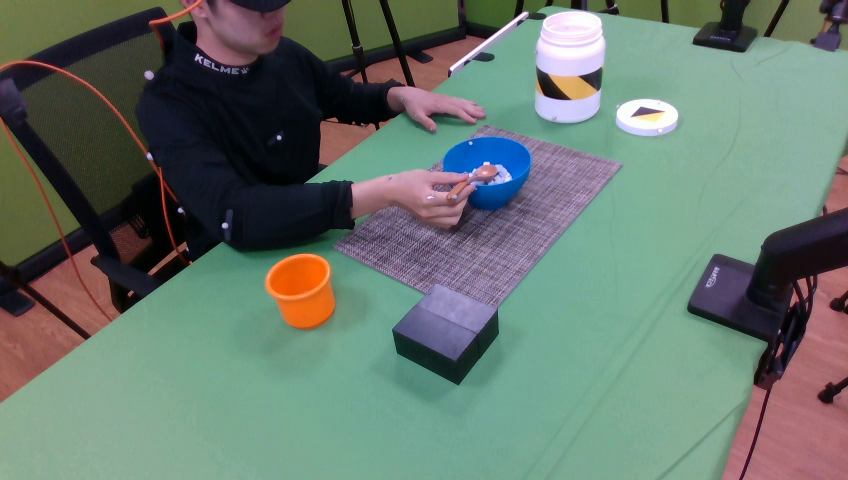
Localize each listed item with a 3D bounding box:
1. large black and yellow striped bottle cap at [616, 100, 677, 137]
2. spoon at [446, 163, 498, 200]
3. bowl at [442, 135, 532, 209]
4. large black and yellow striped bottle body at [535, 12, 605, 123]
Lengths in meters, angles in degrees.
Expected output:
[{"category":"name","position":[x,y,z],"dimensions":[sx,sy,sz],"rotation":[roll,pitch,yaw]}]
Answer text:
[{"category":"large black and yellow striped bottle cap","position":[0.438,-0.241,1.190],"dimensions":[0.115,0.019,0.114],"rotation":[-4,42,4]},{"category":"spoon","position":[0.073,-0.094,0.957],"dimensions":[0.041,0.021,0.194],"rotation":[5,19,25]},{"category":"bowl","position":[0.108,-0.106,1.026],"dimensions":[0.151,0.077,0.150],"rotation":[-4,41,4]},{"category":"large black and yellow striped bottle body","position":[0.287,-0.341,1.197],"dimensions":[0.131,0.185,0.130],"rotation":[-4,41,4]}]
